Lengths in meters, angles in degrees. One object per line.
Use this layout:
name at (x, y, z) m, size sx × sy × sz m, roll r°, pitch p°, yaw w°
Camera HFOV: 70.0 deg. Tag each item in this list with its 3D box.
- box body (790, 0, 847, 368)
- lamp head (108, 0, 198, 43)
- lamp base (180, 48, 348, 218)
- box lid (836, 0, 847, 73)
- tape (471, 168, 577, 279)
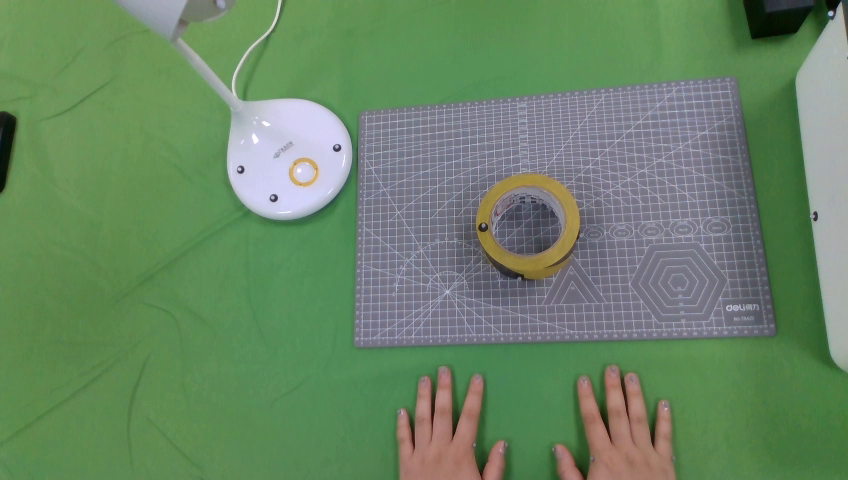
box body at (0.508, -0.058, 0.555) m, size 0.254 × 0.161 × 0.362 m, roll -1°, pitch 75°, yaw 10°
lamp head at (-0.197, -0.210, 0.400) m, size 0.123 × 0.112 × 0.112 m, roll 28°, pitch 79°, yaw -18°
lamp base at (-0.196, -0.132, 0.689) m, size 0.178 × 0.181 × 0.160 m, roll 36°, pitch 83°, yaw 20°
box lid at (0.496, -0.081, 0.486) m, size 0.263 × 0.015 × 0.369 m, roll -1°, pitch 75°, yaw 10°
tape at (0.110, -0.018, 0.669) m, size 0.117 × 0.053 × 0.116 m, roll -2°, pitch 74°, yaw 8°
